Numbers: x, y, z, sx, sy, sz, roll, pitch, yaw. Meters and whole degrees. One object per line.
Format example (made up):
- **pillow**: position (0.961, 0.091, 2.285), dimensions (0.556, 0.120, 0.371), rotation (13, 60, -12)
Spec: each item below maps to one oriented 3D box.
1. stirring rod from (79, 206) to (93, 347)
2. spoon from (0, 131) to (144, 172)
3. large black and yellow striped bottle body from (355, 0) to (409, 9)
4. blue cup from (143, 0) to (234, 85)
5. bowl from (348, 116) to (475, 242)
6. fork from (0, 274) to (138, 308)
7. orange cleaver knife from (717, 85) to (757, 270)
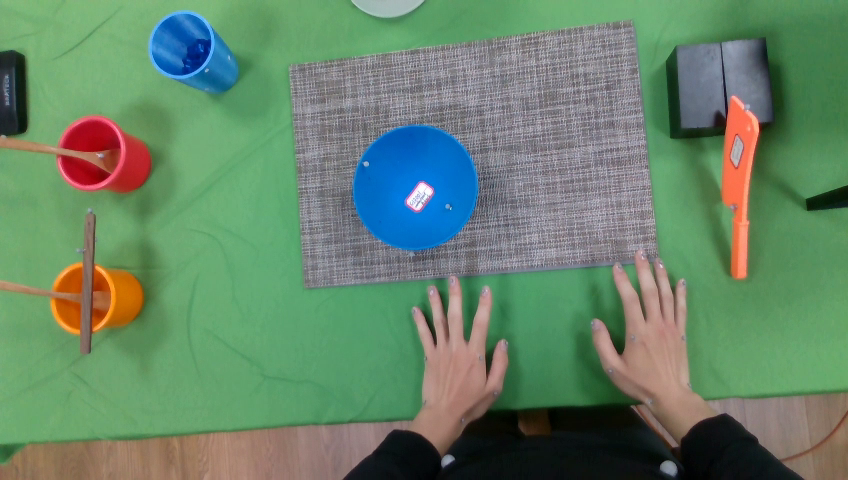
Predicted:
- **stirring rod**: position (-0.421, 0.045, 0.754), dimensions (0.014, 0.006, 0.176), rotation (0, 87, 5)
- **spoon**: position (-0.464, -0.120, 0.774), dimensions (0.195, 0.021, 0.041), rotation (8, 85, -36)
- **large black and yellow striped bottle body**: position (-0.063, -0.374, 0.716), dimensions (0.130, 0.184, 0.130), rotation (0, 86, 7)
- **blue cup**: position (-0.293, -0.243, 0.779), dimensions (0.092, 0.100, 0.092), rotation (0, 88, 6)
- **bowl**: position (-0.010, -0.069, 0.743), dimensions (0.151, 0.077, 0.151), rotation (0, 87, 7)
- **fork**: position (-0.472, 0.058, 0.762), dimensions (0.209, 0.018, 0.028), rotation (16, 98, -36)
- **orange cleaver knife**: position (0.356, -0.068, 0.698), dimensions (0.012, 0.076, 0.213), rotation (-9, 115, 3)
